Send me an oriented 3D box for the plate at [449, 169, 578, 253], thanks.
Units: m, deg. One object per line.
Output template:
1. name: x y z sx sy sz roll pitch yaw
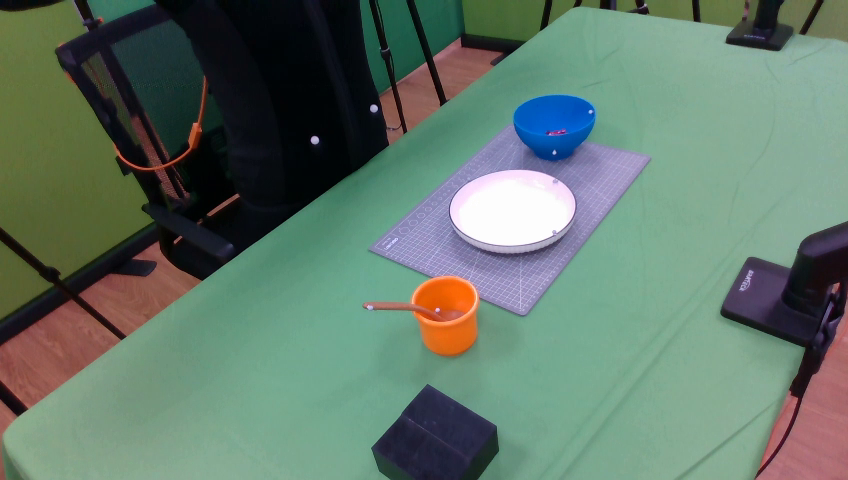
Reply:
1. plate: 0.146 -0.044 0.993 0.209 0.038 0.208 -5 40 5

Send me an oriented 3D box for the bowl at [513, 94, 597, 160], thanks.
1. bowl: 0.244 -0.202 1.130 0.151 0.077 0.150 -6 40 5

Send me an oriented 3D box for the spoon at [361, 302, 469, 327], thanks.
1. spoon: -0.008 0.092 0.779 0.041 0.195 0.021 33 99 42
